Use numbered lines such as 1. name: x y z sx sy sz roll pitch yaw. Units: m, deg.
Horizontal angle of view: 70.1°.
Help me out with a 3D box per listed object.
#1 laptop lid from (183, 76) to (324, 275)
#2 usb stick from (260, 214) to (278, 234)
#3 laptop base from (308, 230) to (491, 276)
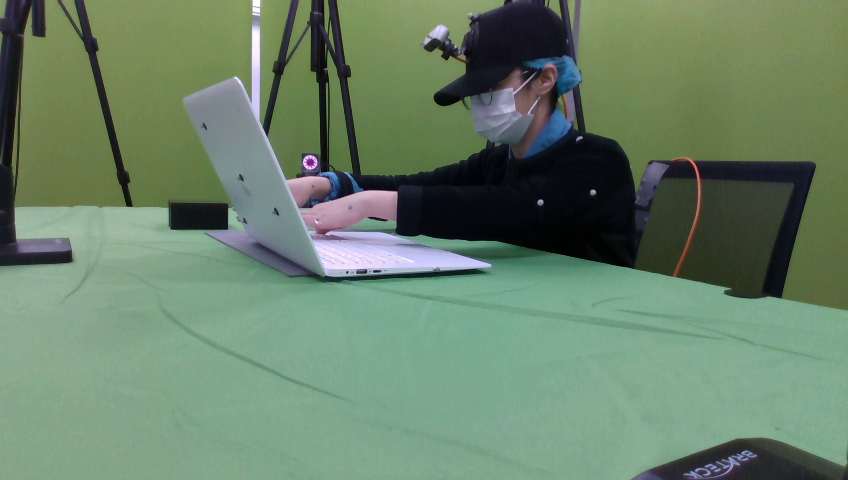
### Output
1. laptop lid: -0.237 -0.085 0.791 0.013 0.242 0.355 -30 23 -23
2. usb stick: -0.260 -0.025 1.017 0.021 0.027 0.059 0 18 -25
3. laptop base: -0.095 0.015 0.888 0.237 0.023 0.352 1 7 -30
